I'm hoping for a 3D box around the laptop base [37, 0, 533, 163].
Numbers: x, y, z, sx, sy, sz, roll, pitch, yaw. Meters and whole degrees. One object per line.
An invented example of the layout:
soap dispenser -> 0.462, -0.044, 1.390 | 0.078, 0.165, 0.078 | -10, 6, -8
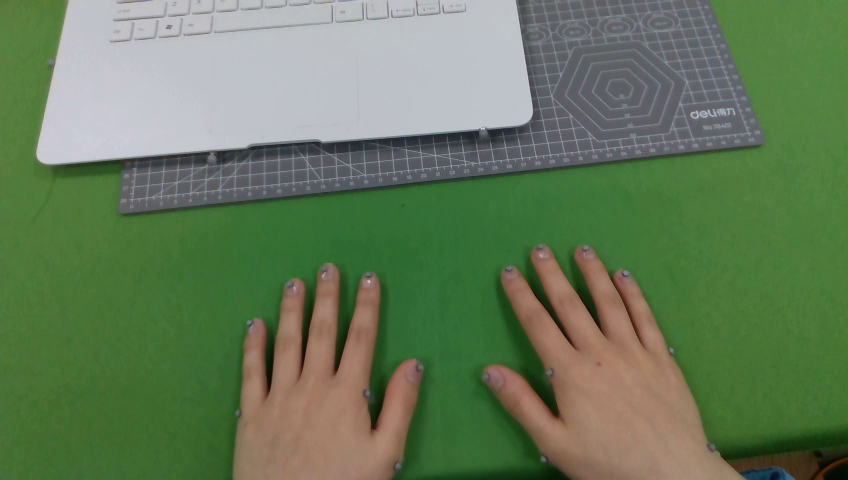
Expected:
laptop base -> -0.106, -0.172, 0.473 | 0.354, 0.023, 0.233 | -5, 69, 0
